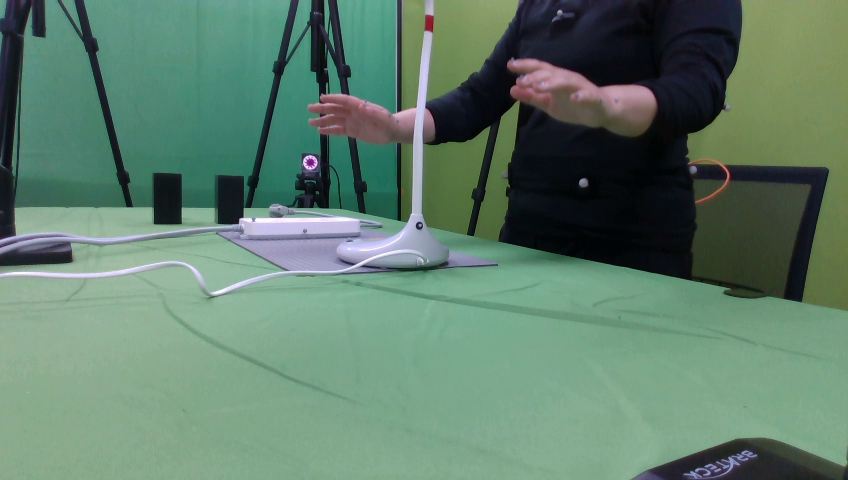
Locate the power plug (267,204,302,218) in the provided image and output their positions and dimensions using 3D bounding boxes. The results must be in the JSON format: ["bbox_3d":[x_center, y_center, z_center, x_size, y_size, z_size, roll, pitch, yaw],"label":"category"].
[{"bbox_3d":[-0.327,-0.060,1.405,0.073,0.035,0.052,22,-14,-27],"label":"power plug"}]

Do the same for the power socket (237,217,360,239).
[{"bbox_3d":[-0.220,-0.023,1.080,0.228,0.032,0.072,-2,8,-33],"label":"power socket"}]

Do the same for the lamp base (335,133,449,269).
[{"bbox_3d":[-0.033,-0.057,0.831,0.161,0.180,0.178,-3,11,-36],"label":"lamp base"}]
